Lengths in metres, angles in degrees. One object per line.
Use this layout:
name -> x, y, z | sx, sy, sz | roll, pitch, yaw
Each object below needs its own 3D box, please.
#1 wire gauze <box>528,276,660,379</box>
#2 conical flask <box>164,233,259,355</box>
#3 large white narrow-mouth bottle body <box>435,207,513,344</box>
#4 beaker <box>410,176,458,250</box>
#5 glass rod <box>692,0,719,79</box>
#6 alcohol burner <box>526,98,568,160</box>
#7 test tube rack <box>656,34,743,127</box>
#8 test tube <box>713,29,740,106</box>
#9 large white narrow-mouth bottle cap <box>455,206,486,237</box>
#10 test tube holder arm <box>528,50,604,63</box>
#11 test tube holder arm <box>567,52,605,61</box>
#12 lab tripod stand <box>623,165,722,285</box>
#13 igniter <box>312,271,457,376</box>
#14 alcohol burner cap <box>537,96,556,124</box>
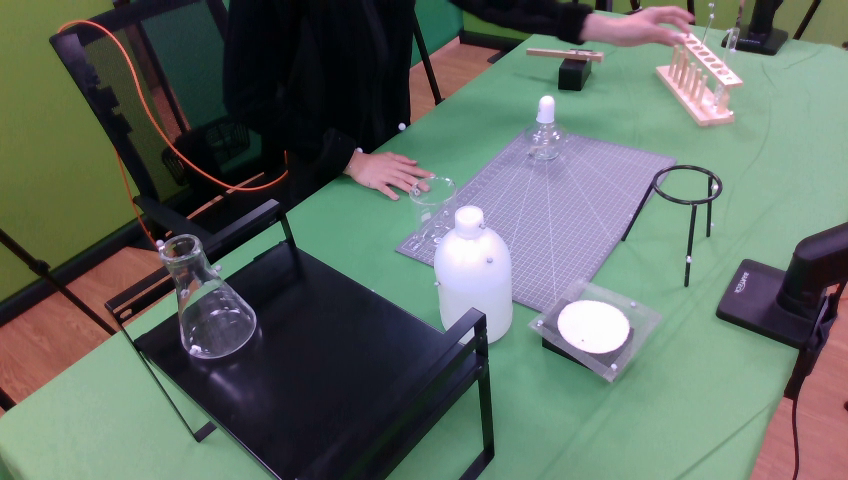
wire gauze -> 0.214, 0.103, 0.763 | 0.124, 0.011, 0.122 | 30, 53, 35
conical flask -> -0.216, 0.051, 0.601 | 0.075, 0.122, 0.075 | -4, 40, 4
large white narrow-mouth bottle body -> 0.065, 0.041, 0.791 | 0.102, 0.195, 0.101 | -4, 41, 4
beaker -> 0.022, -0.041, 0.963 | 0.073, 0.101, 0.084 | 28, 51, 35
glass rod -> 0.561, -0.401, 1.214 | 0.008, 0.200, 0.008 | -1, 49, 2
alcohol burner -> 0.228, -0.210, 1.118 | 0.078, 0.119, 0.077 | -5, 43, 5
test tube rack -> 0.553, -0.330, 1.233 | 0.067, 0.085, 0.241 | -7, 40, 2
test tube -> 0.572, -0.324, 1.147 | 0.017, 0.151, 0.017 | -2, 37, 2
large white narrow-mouth bottle cap -> 0.057, -0.023, 0.734 | 0.038, 0.024, 0.037 | -4, 40, 4
test tube holder arm -> 0.312, -0.410, 1.344 | 0.177, 0.015, 0.013 | 16, 41, 30
test tube holder arm -> 0.352, -0.402, 1.325 | 0.087, 0.015, 0.010 | 16, 41, 31
lab tripod stand -> 0.365, -0.030, 0.874 | 0.148, 0.132, 0.147 | -6, 41, 6
igniter -> -0.068, 0.111, 0.859 | 0.274, 0.025, 0.057 | 27, 61, 34
alcohol burner cap -> 0.223, -0.237, 1.095 | 0.034, 0.048, 0.033 | -2, 37, 2
